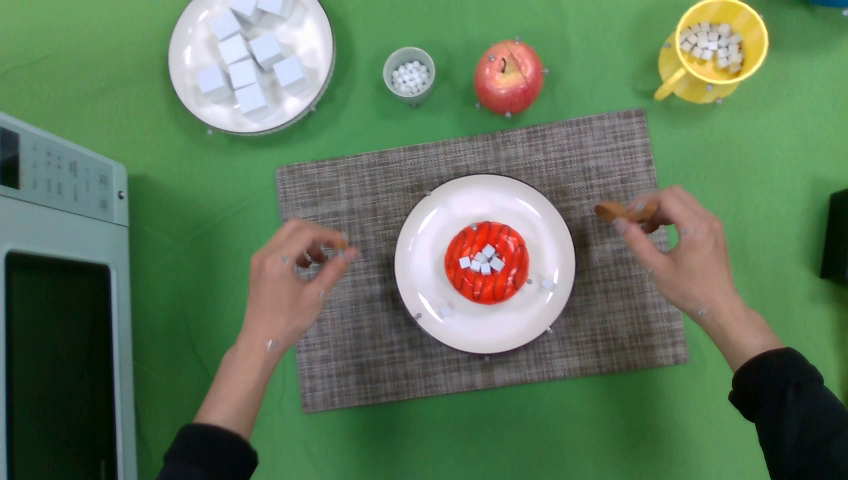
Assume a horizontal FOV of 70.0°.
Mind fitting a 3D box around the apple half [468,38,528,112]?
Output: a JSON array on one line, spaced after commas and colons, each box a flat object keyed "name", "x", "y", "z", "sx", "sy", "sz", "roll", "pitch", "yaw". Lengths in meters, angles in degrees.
[{"name": "apple half", "x": 0.080, "y": -0.184, "z": 0.704, "sx": 0.053, "sy": 0.075, "sz": 0.080, "roll": -29, "pitch": 86, "yaw": 6}]

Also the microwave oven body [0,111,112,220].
[{"name": "microwave oven body", "x": -0.521, "y": 0.118, "z": 0.624, "sx": 0.326, "sy": 0.261, "sz": 0.440, "roll": -6, "pitch": 84, "yaw": 4}]

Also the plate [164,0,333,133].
[{"name": "plate", "x": -0.213, "y": -0.230, "z": 0.749, "sx": 0.207, "sy": 0.039, "sz": 0.207, "roll": 0, "pitch": 84, "yaw": 5}]

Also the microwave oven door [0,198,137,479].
[{"name": "microwave oven door", "x": -0.373, "y": 0.145, "z": 0.604, "sx": 0.039, "sy": 0.244, "sz": 0.354, "roll": -6, "pitch": 83, "yaw": 4}]

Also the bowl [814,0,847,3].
[{"name": "bowl", "x": 0.459, "y": -0.330, "z": 0.685, "sx": 0.151, "sy": 0.077, "sz": 0.151, "roll": 0, "pitch": 85, "yaw": 5}]

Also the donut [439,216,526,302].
[{"name": "donut", "x": 0.066, "y": 0.022, "z": 0.687, "sx": 0.099, "sy": 0.048, "sz": 0.099, "roll": 0, "pitch": 86, "yaw": 6}]

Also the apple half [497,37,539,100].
[{"name": "apple half", "x": 0.113, "y": -0.203, "z": 0.702, "sx": 0.033, "sy": 0.081, "sz": 0.081, "roll": -30, "pitch": 82, "yaw": 5}]

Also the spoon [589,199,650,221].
[{"name": "spoon", "x": 0.200, "y": -0.028, "z": 0.614, "sx": 0.041, "sy": 0.193, "sz": 0.021, "roll": 23, "pitch": 98, "yaw": 4}]

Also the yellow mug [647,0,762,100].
[{"name": "yellow mug", "x": 0.308, "y": -0.209, "z": 0.692, "sx": 0.131, "sy": 0.064, "sz": 0.099, "roll": -40, "pitch": 83, "yaw": 1}]

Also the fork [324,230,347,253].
[{"name": "fork", "x": -0.090, "y": 0.003, "z": 0.630, "sx": 0.028, "sy": 0.206, "sz": 0.018, "roll": -15, "pitch": 97, "yaw": -8}]

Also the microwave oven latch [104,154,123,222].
[{"name": "microwave oven latch", "x": -0.382, "y": -0.061, "z": 0.728, "sx": 0.030, "sy": 0.029, "sz": 0.079, "roll": -4, "pitch": 85, "yaw": 4}]

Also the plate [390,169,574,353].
[{"name": "plate", "x": 0.065, "y": 0.023, "z": 0.698, "sx": 0.209, "sy": 0.038, "sz": 0.208, "roll": 0, "pitch": 84, "yaw": 5}]

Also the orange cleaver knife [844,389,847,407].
[{"name": "orange cleaver knife", "x": 0.486, "y": 0.082, "z": 0.638, "sx": 0.012, "sy": 0.077, "sz": 0.212, "roll": 11, "pitch": 117, "yaw": 8}]

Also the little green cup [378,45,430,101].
[{"name": "little green cup", "x": -0.022, "y": -0.199, "z": 0.731, "sx": 0.061, "sy": 0.039, "sz": 0.061, "roll": 0, "pitch": 84, "yaw": 5}]
